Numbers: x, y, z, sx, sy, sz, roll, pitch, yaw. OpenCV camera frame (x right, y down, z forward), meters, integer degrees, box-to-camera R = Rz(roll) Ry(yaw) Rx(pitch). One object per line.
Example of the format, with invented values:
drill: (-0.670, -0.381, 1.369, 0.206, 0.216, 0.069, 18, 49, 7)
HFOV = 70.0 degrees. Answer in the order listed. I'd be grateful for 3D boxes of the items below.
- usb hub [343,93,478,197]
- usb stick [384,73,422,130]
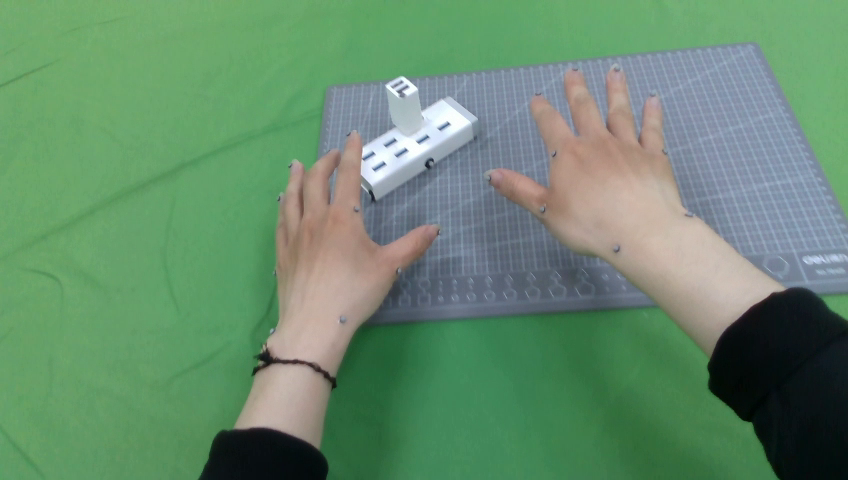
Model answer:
usb hub: (-0.012, -0.093, 0.577, 0.125, 0.025, 0.049, -34, 57, -16)
usb stick: (-0.018, -0.123, 0.563, 0.021, 0.060, 0.027, -36, 55, -16)
